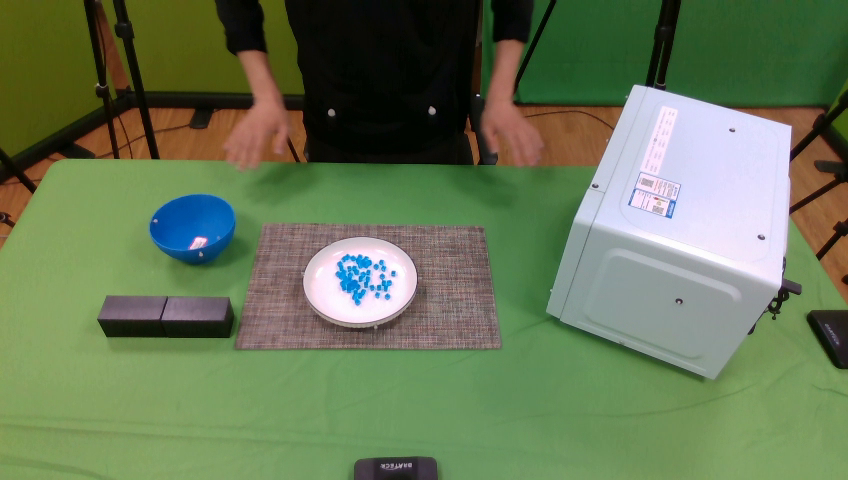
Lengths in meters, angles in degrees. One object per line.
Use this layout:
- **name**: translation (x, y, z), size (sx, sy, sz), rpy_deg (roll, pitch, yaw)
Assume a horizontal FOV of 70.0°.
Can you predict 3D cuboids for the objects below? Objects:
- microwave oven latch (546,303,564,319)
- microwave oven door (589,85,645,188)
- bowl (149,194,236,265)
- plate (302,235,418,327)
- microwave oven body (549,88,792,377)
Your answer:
- **microwave oven latch**: translation (0.242, 0.102, 1.081), size (0.030, 0.029, 0.079), rpy_deg (22, 48, 17)
- **microwave oven door**: translation (0.342, -0.107, 1.149), size (0.039, 0.245, 0.354), rpy_deg (20, 48, 15)
- **bowl**: translation (-0.425, -0.009, 1.134), size (0.151, 0.077, 0.150), rpy_deg (2, 46, -2)
- **plate**: translation (-0.114, 0.077, 1.098), size (0.208, 0.039, 0.206), rpy_deg (2, 46, -2)
- **microwave oven body**: translation (0.456, -0.028, 1.088), size (0.325, 0.261, 0.440), rpy_deg (20, 47, 16)
